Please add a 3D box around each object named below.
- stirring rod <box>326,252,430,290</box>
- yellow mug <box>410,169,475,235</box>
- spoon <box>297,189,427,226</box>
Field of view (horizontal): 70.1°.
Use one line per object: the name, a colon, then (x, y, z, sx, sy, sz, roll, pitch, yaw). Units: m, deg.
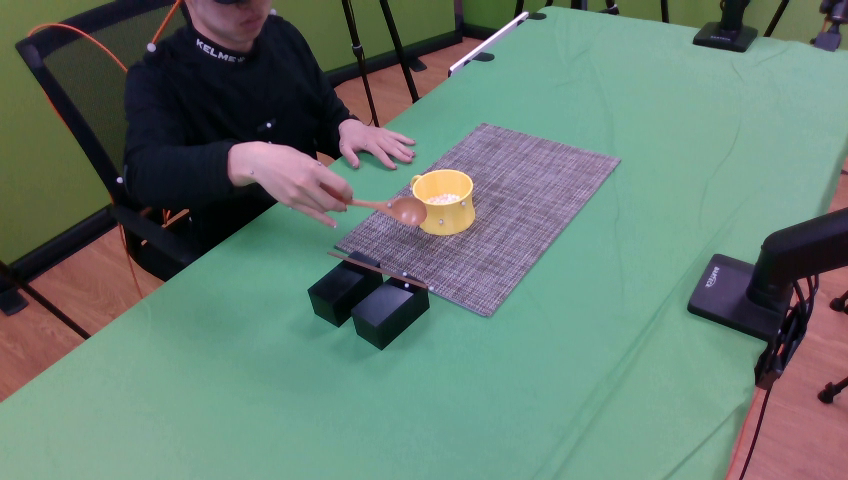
stirring rod: (-0.068, 0.043, 0.859, 0.175, 0.006, 0.014, 17, 11, 26)
yellow mug: (0.022, -0.070, 1.007, 0.100, 0.064, 0.129, -36, 47, -30)
spoon: (-0.089, -0.053, 0.854, 0.193, 0.041, 0.021, 10, 15, 5)
